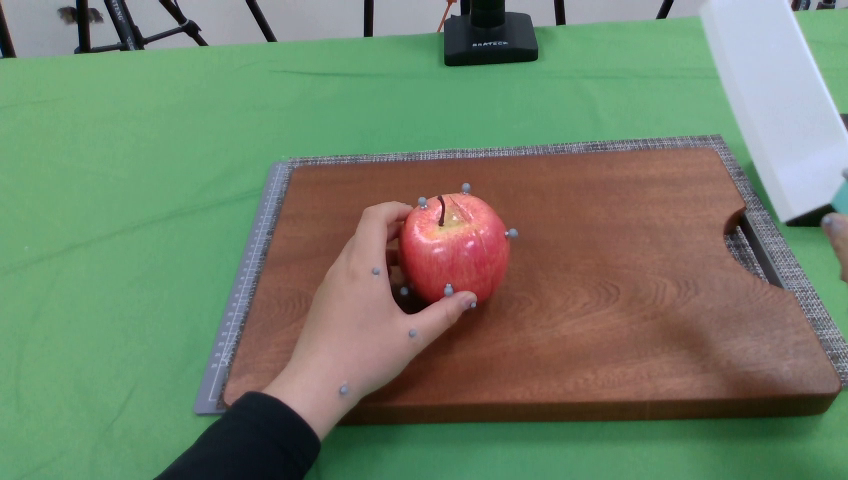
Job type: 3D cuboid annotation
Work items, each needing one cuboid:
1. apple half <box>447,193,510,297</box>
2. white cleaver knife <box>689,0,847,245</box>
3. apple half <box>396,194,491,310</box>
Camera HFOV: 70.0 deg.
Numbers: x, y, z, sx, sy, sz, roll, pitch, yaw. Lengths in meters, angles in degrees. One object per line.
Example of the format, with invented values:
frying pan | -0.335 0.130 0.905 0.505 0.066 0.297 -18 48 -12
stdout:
apple half | 0.044 0.001 0.442 0.033 0.082 0.080 -23 46 -11
white cleaver knife | 0.231 -0.045 0.365 0.021 0.066 0.284 -5 71 -24
apple half | 0.008 0.014 0.434 0.053 0.075 0.080 -23 49 -11
